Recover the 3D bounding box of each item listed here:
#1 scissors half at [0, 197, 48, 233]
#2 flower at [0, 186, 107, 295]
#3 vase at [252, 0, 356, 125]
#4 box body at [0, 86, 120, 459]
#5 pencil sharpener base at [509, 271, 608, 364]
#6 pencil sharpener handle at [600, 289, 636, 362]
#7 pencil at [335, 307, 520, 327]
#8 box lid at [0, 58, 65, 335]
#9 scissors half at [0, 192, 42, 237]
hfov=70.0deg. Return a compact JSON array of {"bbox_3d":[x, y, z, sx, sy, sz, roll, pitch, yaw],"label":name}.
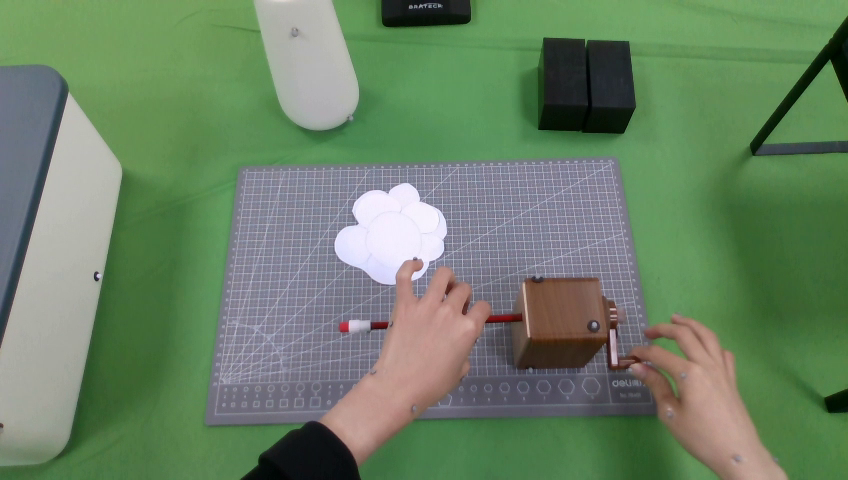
[{"bbox_3d":[-0.509,-0.005,0.666,0.175,0.040,0.012,-27,35,-13],"label":"scissors half"},{"bbox_3d":[-0.466,0.057,0.662,0.038,0.044,0.359,-9,39,33],"label":"flower"},{"bbox_3d":[-0.134,-0.219,0.672,0.098,0.201,0.097,-1,64,2],"label":"vase"},{"bbox_3d":[-0.469,0.026,0.584,0.254,0.161,0.361,-3,65,0],"label":"box body"},{"bbox_3d":[0.125,0.076,0.578,0.077,0.108,0.061,-2,64,0],"label":"pencil sharpener base"},{"bbox_3d":[0.176,0.078,0.554,0.030,0.036,0.068,-2,91,0],"label":"pencil sharpener handle"},{"bbox_3d":[0.017,0.069,0.551,0.194,0.012,0.012,-3,65,-3],"label":"pencil"},{"bbox_3d":[-0.471,-0.009,0.516,0.263,0.015,0.368,-2,65,-2],"label":"box lid"},{"bbox_3d":[-0.503,0.005,0.674,0.175,0.040,0.012,-34,31,-6],"label":"scissors half"}]
